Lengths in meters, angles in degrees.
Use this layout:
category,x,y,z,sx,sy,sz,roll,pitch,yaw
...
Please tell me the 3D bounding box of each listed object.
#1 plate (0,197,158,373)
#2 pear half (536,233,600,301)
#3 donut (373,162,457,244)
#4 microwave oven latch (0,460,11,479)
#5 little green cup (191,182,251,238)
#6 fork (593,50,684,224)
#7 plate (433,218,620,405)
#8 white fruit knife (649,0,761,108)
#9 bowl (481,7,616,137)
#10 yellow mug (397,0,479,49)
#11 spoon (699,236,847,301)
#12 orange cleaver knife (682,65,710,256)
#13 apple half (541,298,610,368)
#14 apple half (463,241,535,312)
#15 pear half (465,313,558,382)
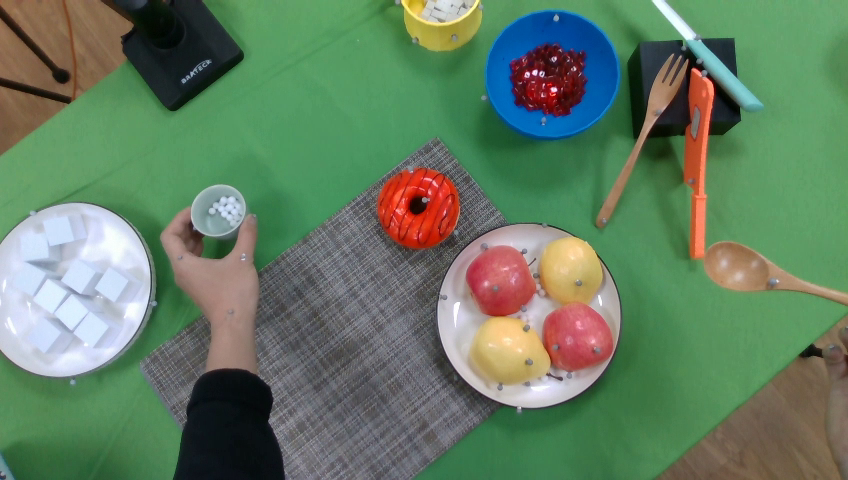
category,x,y,z,sx,sy,sz,roll,pitch,yaw
plate,-0.416,0.053,0.725,0.207,0.039,0.207,0,82,3
pear half,0.160,0.037,0.681,0.070,0.031,0.088,-10,92,25
donut,-0.011,-0.043,0.712,0.099,0.048,0.099,-1,84,5
microwave oven latch,-0.491,0.262,0.679,0.030,0.029,0.079,-33,82,-3
little green cup,-0.230,-0.031,0.694,0.061,0.039,0.061,0,75,2
fork,0.240,-0.113,0.692,0.028,0.018,0.208,21,104,-2
plate,0.115,0.080,0.691,0.209,0.038,0.208,0,82,3
white fruit knife,0.306,-0.228,0.691,0.027,0.016,0.206,-31,78,-31
bowl,0.140,-0.184,0.712,0.151,0.077,0.151,0,82,3
yellow mug,0.003,-0.300,0.741,0.130,0.064,0.099,19,83,6
spoon,0.323,0.040,0.490,0.192,0.022,0.041,20,78,24
orange cleaver knife,0.304,-0.089,0.688,0.012,0.077,0.212,-3,107,7
apple half,0.161,0.104,0.668,0.081,0.033,0.081,1,94,24
apple half,0.083,0.042,0.680,0.074,0.053,0.080,-21,85,0
pear half,0.104,0.126,0.672,0.110,0.056,0.076,25,88,-2
